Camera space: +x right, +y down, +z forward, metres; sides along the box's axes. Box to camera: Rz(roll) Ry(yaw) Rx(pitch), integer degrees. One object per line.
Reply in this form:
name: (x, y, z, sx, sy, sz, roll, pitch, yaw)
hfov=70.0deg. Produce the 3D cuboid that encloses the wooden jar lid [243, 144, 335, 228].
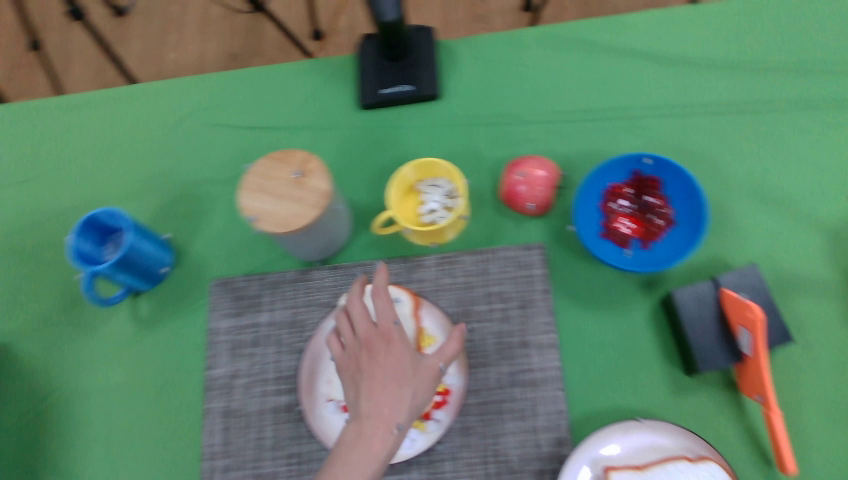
wooden jar lid: (-0.157, -0.062, 0.712, 0.108, 0.021, 0.107, -2, 70, 5)

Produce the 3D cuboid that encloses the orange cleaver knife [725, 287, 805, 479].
orange cleaver knife: (0.373, 0.154, 0.668, 0.012, 0.077, 0.211, -16, 93, -5)

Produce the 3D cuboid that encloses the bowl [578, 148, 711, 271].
bowl: (0.261, -0.027, 0.741, 0.151, 0.077, 0.150, -2, 72, 7)

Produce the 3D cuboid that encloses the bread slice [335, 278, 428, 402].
bread slice: (-0.047, 0.107, 0.659, 0.104, 0.019, 0.131, -1, 83, 16)

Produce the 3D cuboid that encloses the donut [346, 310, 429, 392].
donut: (-0.043, 0.131, 0.717, 0.099, 0.048, 0.098, -2, 72, 6)

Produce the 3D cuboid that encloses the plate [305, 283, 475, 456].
plate: (-0.040, 0.155, 0.739, 0.207, 0.039, 0.206, -2, 73, 7)

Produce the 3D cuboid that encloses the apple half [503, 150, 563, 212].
apple half: (0.142, -0.083, 0.787, 0.074, 0.054, 0.080, 15, 75, 14)

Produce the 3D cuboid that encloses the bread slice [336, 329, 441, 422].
bread slice: (-0.035, 0.152, 0.739, 0.107, 0.018, 0.133, -23, 73, 1)

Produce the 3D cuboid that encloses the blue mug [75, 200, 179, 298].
blue mug: (-0.392, 0.020, 0.794, 0.082, 0.106, 0.116, 14, 75, 11)

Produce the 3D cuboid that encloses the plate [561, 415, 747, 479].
plate: (0.250, 0.299, 0.661, 0.209, 0.038, 0.208, -2, 72, 8)

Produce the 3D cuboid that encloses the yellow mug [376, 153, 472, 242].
yellow mug: (-0.003, -0.047, 0.787, 0.131, 0.064, 0.099, -28, 71, -1)

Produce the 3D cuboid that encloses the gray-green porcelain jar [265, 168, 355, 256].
gray-green porcelain jar: (-0.148, -0.042, 0.772, 0.106, 0.127, 0.105, -2, 72, 7)
